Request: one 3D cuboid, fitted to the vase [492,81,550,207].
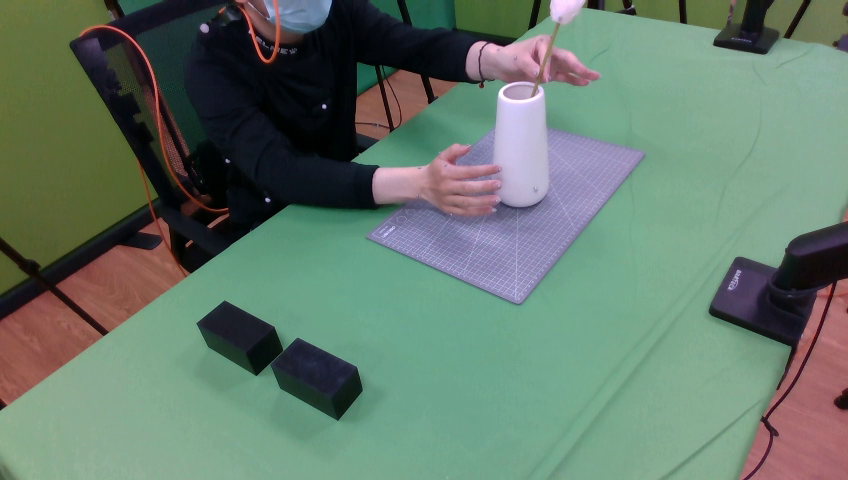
[{"bbox_3d":[0.159,-0.152,0.982,0.098,0.201,0.097,-3,41,3],"label":"vase"}]

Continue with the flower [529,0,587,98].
[{"bbox_3d":[0.167,-0.222,0.933,0.044,0.362,0.038,22,44,5],"label":"flower"}]
